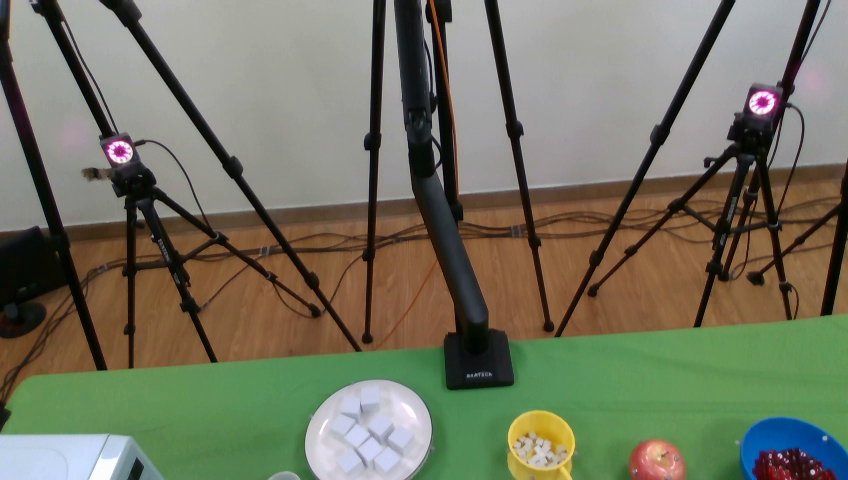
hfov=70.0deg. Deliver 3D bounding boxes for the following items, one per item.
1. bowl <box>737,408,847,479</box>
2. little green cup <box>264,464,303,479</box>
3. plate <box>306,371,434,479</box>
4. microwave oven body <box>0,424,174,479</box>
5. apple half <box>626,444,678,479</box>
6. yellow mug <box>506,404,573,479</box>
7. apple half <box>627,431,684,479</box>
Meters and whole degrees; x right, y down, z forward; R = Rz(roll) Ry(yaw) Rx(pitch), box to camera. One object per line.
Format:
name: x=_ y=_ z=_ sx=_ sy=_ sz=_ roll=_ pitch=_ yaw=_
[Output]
bowl: x=0.523 y=0.328 z=0.871 sx=0.151 sy=0.077 sz=0.150 roll=-3 pitch=43 yaw=3
little green cup: x=-0.212 y=0.380 z=0.926 sx=0.061 sy=0.039 sz=0.061 roll=-2 pitch=44 yaw=2
plate: x=-0.087 y=0.310 z=0.991 sx=0.207 sy=0.039 sz=0.205 roll=-3 pitch=42 yaw=3
microwave oven body: x=-0.522 y=0.470 z=0.695 sx=0.326 sy=0.263 sz=0.437 roll=-2 pitch=44 yaw=4
apple half: x=0.325 y=0.340 z=0.884 sx=0.080 sy=0.082 sz=0.033 roll=28 pitch=50 yaw=31
yellow mug: x=0.185 y=0.322 z=0.926 sx=0.100 sy=0.064 sz=0.129 roll=-24 pitch=46 yaw=-19
apple half: x=0.350 y=0.320 z=0.905 sx=0.080 sy=0.075 sz=0.053 roll=25 pitch=48 yaw=34
